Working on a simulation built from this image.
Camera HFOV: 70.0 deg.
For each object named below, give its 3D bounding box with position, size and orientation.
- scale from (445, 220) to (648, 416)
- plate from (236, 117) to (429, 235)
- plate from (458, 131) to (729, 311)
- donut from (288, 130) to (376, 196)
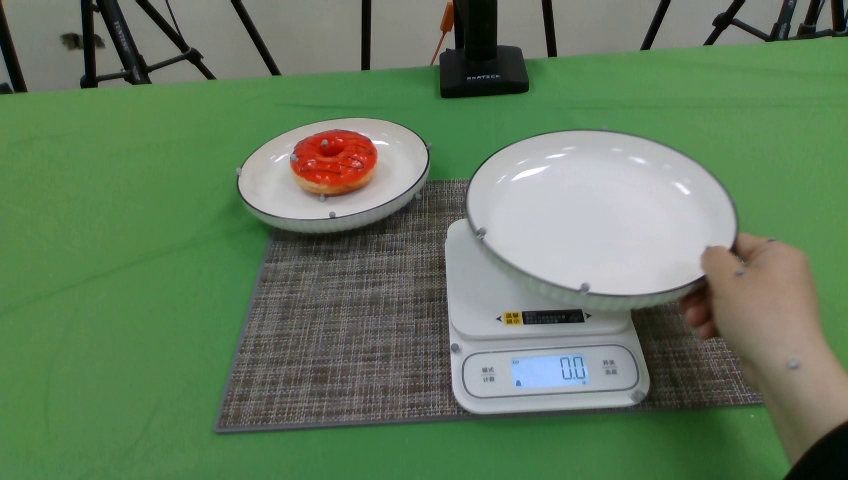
[{"bbox_3d":[0.094,0.053,0.513,0.148,0.032,0.199,-4,42,3],"label":"scale"},{"bbox_3d":[-0.098,-0.070,0.666,0.209,0.038,0.207,-4,40,3],"label":"plate"},{"bbox_3d":[0.131,-0.017,0.492,0.207,0.039,0.205,-1,42,2],"label":"plate"},{"bbox_3d":[-0.101,-0.085,0.668,0.099,0.049,0.098,-2,40,2],"label":"donut"}]
